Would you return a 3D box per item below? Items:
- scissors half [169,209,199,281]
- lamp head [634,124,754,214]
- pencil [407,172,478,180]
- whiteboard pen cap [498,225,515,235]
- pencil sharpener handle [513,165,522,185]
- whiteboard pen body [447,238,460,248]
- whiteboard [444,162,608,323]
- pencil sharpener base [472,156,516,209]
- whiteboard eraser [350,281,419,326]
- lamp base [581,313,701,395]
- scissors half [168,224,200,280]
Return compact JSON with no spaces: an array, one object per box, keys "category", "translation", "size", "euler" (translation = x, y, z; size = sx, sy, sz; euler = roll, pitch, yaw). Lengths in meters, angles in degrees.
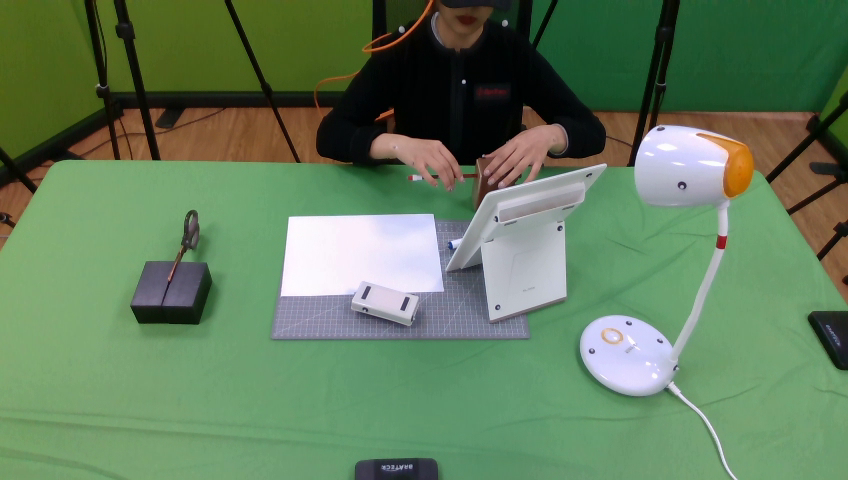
[{"category":"scissors half","translation":[-0.438,0.007,1.098],"size":[0.013,0.040,0.174],"euler":[3,48,-3]},{"category":"lamp head","translation":[0.351,-0.089,0.775],"size":[0.112,0.113,0.122],"euler":[-30,30,-28]},{"category":"pencil","translation":[0.063,-0.132,1.234],"size":[0.194,0.012,0.012],"euler":[-3,47,-6]},{"category":"whiteboard pen cap","translation":[0.166,-0.019,1.222],"size":[0.033,0.018,0.018],"euler":[-15,49,-19]},{"category":"pencil sharpener handle","translation":[0.196,-0.129,1.258],"size":[0.031,0.068,0.036],"euler":[-2,58,-6]},{"category":"whiteboard pen body","translation":[0.112,-0.005,1.203],"size":[0.141,0.017,0.017],"euler":[-14,49,-18]},{"category":"whiteboard","translation":[0.186,0.025,1.029],"size":[0.217,0.306,0.143],"euler":[-14,68,-18]},{"category":"pencil sharpener base","translation":[0.145,-0.116,1.259],"size":[0.077,0.107,0.061],"euler":[-2,46,-6]},{"category":"whiteboard eraser","translation":[-0.069,0.113,1.065],"size":[0.112,0.042,0.055],"euler":[14,46,9]},{"category":"lamp base","translation":[0.361,0.144,0.972],"size":[0.178,0.181,0.160],"euler":[34,53,23]},{"category":"scissors half","translation":[-0.440,0.023,1.111],"size":[0.013,0.040,0.174],"euler":[7,29,-6]}]
